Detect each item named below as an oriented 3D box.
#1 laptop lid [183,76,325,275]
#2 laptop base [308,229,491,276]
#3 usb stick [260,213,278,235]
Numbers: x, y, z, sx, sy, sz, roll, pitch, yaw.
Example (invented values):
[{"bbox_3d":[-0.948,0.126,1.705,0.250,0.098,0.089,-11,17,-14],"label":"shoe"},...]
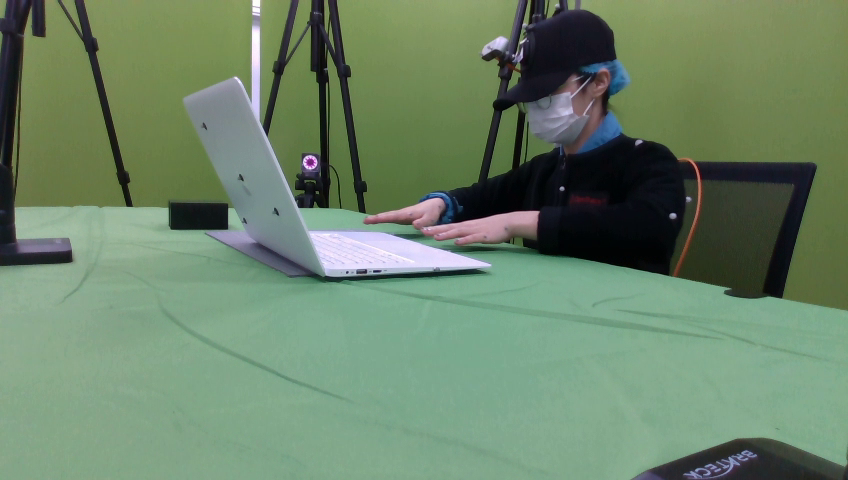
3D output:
[{"bbox_3d":[-0.237,-0.085,0.791,0.013,0.242,0.355,-30,23,-23],"label":"laptop lid"},{"bbox_3d":[-0.094,0.015,0.888,0.237,0.023,0.352,2,7,-30],"label":"laptop base"},{"bbox_3d":[-0.260,-0.025,1.016,0.021,0.027,0.059,1,19,-27],"label":"usb stick"}]
